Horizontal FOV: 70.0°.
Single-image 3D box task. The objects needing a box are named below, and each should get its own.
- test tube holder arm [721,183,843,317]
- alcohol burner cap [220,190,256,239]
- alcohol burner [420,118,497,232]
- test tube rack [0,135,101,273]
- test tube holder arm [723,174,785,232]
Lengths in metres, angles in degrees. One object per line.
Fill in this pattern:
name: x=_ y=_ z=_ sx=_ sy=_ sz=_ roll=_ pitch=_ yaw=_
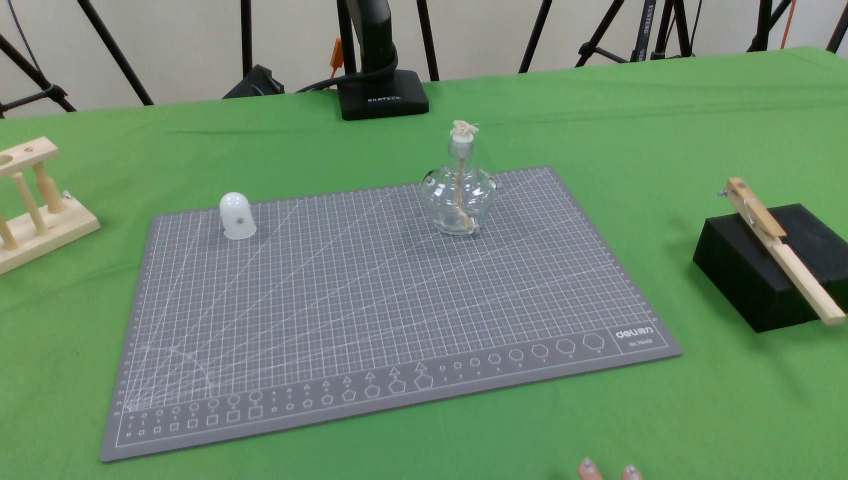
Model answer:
test tube holder arm: x=0.300 y=0.000 z=0.518 sx=0.015 sy=0.013 sz=0.176 roll=-2 pitch=39 yaw=-2
alcohol burner cap: x=-0.190 y=-0.028 z=0.611 sx=0.034 sy=0.048 sz=0.033 roll=-1 pitch=39 yaw=1
alcohol burner: x=0.035 y=-0.067 z=0.600 sx=0.078 sy=0.120 sz=0.077 roll=1 pitch=39 yaw=-1
test tube rack: x=-0.444 y=-0.004 z=0.556 sx=0.066 sy=0.086 sz=0.242 roll=31 pitch=49 yaw=32
test tube holder arm: x=0.298 y=-0.032 z=0.549 sx=0.015 sy=0.010 sz=0.087 roll=-2 pitch=40 yaw=-3
